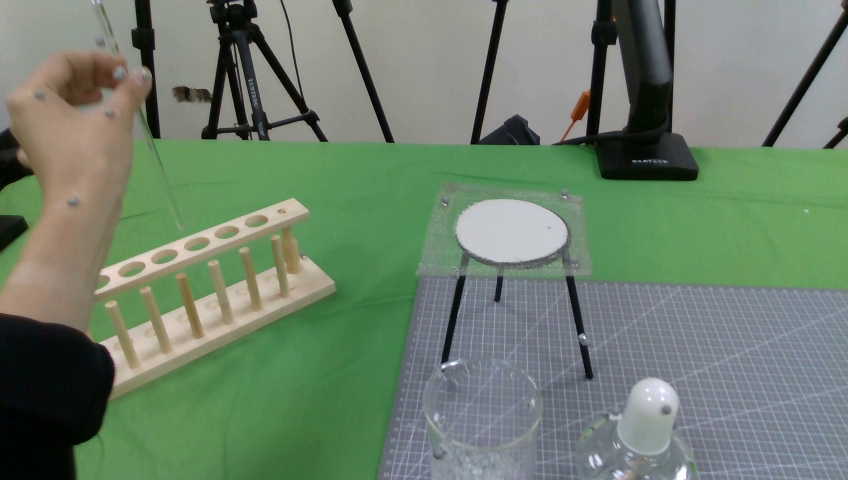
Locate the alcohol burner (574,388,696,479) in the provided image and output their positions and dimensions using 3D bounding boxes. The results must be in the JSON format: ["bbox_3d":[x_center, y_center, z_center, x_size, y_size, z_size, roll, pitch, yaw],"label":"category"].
[{"bbox_3d":[0.138,0.132,0.390,0.078,0.120,0.077,-1,38,2],"label":"alcohol burner"}]

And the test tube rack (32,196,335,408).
[{"bbox_3d":[-0.209,0.048,0.563,0.243,0.086,0.066,-25,41,-29],"label":"test tube rack"}]

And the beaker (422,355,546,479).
[{"bbox_3d":[0.036,0.136,0.404,0.074,0.101,0.083,-26,41,-29],"label":"beaker"}]

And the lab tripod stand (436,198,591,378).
[{"bbox_3d":[0.074,0.043,0.503,0.148,0.132,0.147,-1,35,1],"label":"lab tripod stand"}]

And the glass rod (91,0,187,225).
[{"bbox_3d":[-0.199,-0.081,0.431,0.008,0.201,0.008,1,47,-1],"label":"glass rod"}]

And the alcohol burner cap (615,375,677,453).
[{"bbox_3d":[0.137,0.103,0.368,0.034,0.048,0.033,0,37,0],"label":"alcohol burner cap"}]

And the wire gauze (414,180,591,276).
[{"bbox_3d":[0.062,-0.011,0.464,0.121,0.011,0.124,4,36,8],"label":"wire gauze"}]
